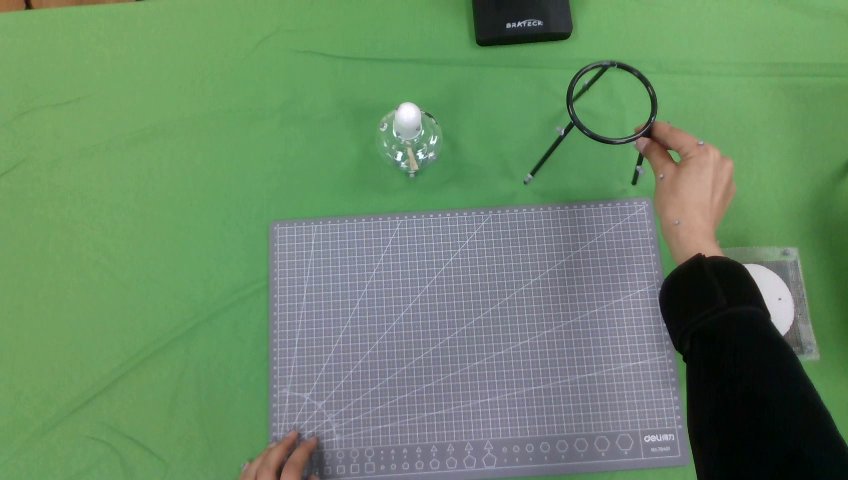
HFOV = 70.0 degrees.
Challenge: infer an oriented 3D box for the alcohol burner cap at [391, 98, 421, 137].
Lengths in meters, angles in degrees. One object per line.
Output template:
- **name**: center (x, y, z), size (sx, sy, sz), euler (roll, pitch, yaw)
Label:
- **alcohol burner cap**: center (-0.019, -0.132, 0.643), size (0.034, 0.048, 0.034), euler (0, 82, -3)

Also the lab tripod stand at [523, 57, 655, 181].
- **lab tripod stand**: center (0.183, -0.121, 0.650), size (0.148, 0.132, 0.147), euler (1, 74, -4)

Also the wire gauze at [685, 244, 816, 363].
- **wire gauze**: center (0.339, 0.065, 0.636), size (0.121, 0.011, 0.124), euler (-1, 76, 3)

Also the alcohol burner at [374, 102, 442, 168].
- **alcohol burner**: center (-0.018, -0.125, 0.677), size (0.078, 0.119, 0.077), euler (0, 78, -1)
